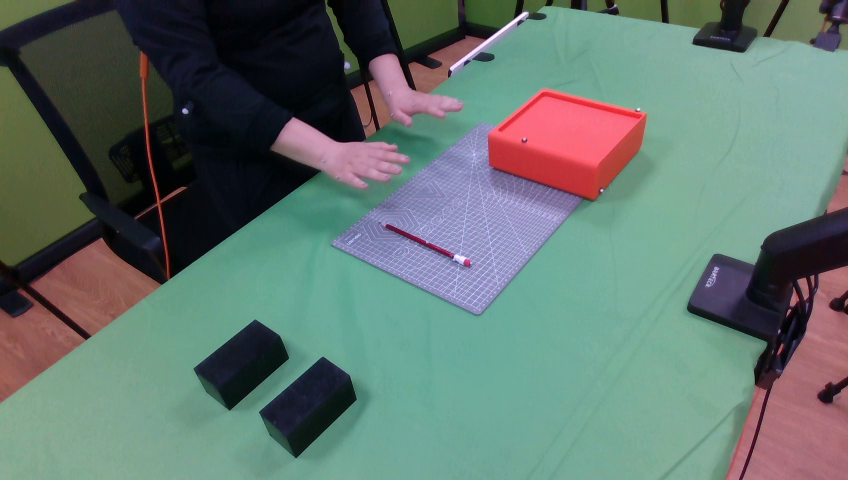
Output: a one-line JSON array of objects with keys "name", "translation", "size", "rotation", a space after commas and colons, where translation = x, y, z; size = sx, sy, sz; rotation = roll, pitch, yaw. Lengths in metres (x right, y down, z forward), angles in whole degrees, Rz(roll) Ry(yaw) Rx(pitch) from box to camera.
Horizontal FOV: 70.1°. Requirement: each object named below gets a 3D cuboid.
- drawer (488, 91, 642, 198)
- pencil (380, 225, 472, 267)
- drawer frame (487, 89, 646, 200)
[{"name": "drawer", "translation": [0.254, -0.179, 1.095], "size": [0.210, 0.073, 0.195], "rotation": [24, 48, 30]}, {"name": "pencil", "translation": [-0.002, 0.005, 0.970], "size": [0.192, 0.012, 0.012], "rotation": [23, 49, 34]}, {"name": "drawer frame", "translation": [0.257, -0.180, 1.094], "size": [0.212, 0.083, 0.202], "rotation": [23, 48, 30]}]
